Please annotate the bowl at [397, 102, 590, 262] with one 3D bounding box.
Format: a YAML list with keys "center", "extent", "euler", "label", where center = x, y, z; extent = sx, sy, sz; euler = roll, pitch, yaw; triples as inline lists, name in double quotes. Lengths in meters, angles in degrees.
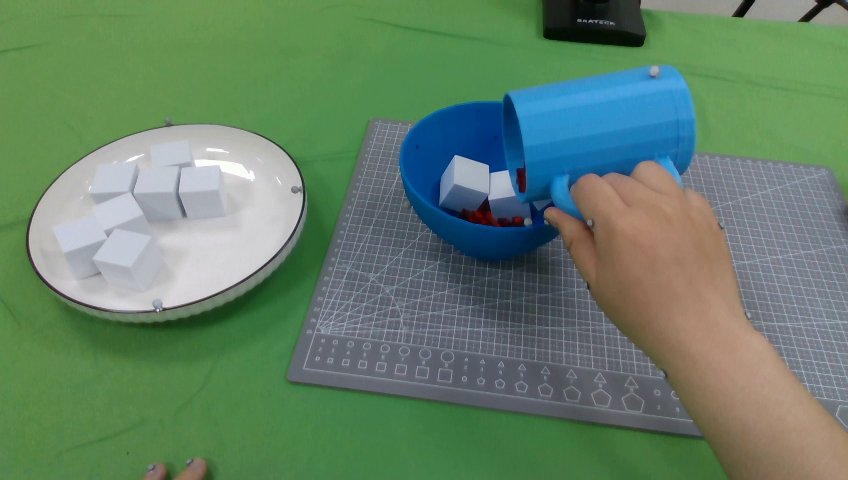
- center: [0.053, -0.035, 0.487]
  extent: [0.151, 0.077, 0.150]
  euler: [1, 48, -1]
  label: "bowl"

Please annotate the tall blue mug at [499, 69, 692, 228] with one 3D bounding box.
- center: [0.113, -0.063, 0.397]
  extent: [0.108, 0.078, 0.106]
  euler: [-9, 24, -2]
  label: "tall blue mug"

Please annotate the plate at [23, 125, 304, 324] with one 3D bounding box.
- center: [-0.200, -0.015, 0.487]
  extent: [0.209, 0.038, 0.207]
  euler: [2, 48, -2]
  label: "plate"
